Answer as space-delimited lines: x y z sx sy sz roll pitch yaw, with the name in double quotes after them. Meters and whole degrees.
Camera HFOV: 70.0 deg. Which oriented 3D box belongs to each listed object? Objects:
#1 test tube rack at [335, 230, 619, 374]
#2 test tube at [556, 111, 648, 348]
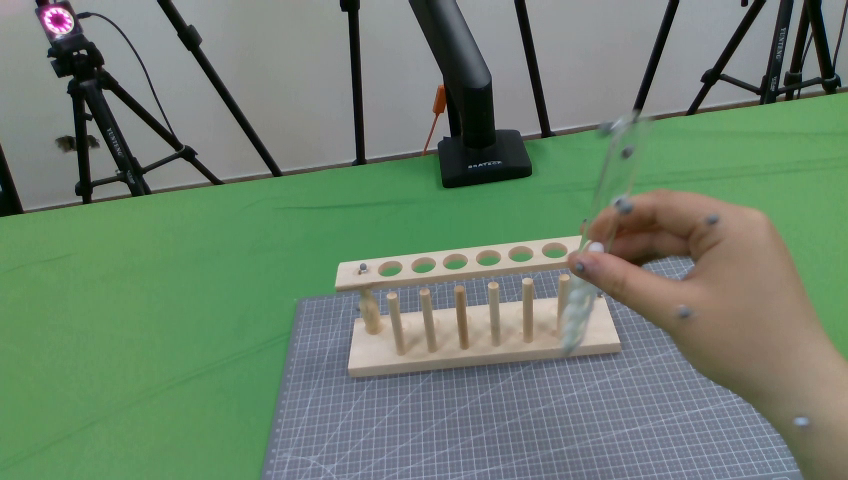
0.047 0.057 0.545 0.242 0.086 0.066 -6 37 5 "test tube rack"
0.088 0.004 0.310 0.017 0.151 0.017 2 40 -1 "test tube"
